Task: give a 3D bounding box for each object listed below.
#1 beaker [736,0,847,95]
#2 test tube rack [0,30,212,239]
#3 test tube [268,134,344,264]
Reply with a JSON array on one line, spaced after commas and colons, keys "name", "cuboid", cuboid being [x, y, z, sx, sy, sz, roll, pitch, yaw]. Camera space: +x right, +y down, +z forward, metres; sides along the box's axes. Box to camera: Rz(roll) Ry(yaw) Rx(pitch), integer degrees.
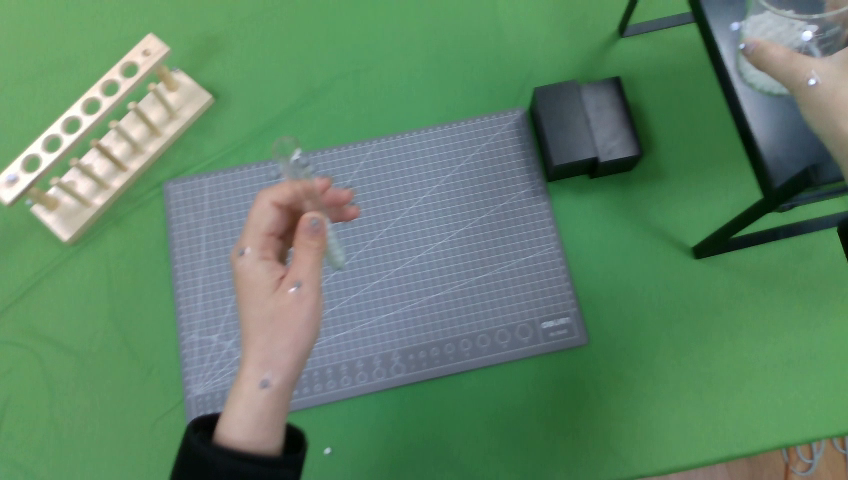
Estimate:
[{"name": "beaker", "cuboid": [0.268, -0.160, 0.439, 0.083, 0.101, 0.073, 12, 74, 23]}, {"name": "test tube rack", "cuboid": [-0.370, -0.121, 0.708, 0.066, 0.085, 0.242, 39, 79, 11]}, {"name": "test tube", "cuboid": [-0.072, -0.019, 0.393, 0.017, 0.151, 0.017, -2, 64, 3]}]
